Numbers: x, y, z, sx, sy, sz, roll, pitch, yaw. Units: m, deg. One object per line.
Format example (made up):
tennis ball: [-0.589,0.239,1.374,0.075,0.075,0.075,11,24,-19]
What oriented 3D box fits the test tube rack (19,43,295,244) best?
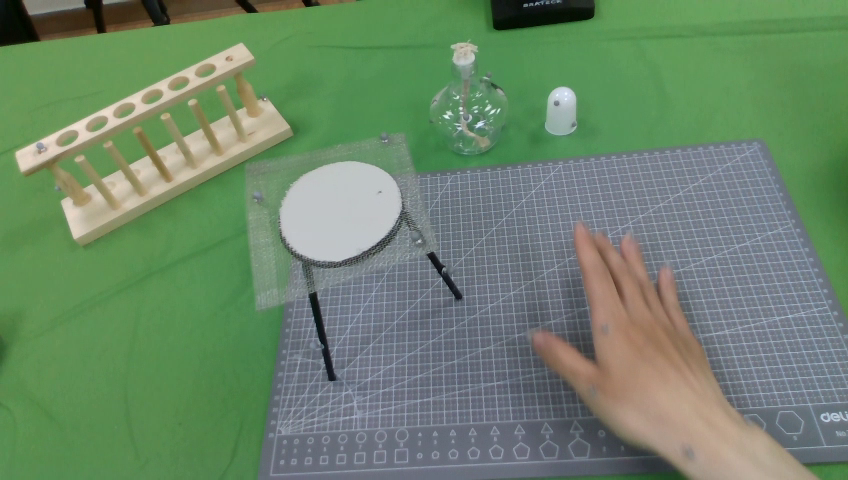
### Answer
test tube rack: [-0.265,-0.101,0.623,0.242,0.086,0.066,-31,56,-13]

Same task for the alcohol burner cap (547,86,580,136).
alcohol burner cap: [0.140,-0.132,0.606,0.034,0.048,0.033,-5,54,8]

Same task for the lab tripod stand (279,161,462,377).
lab tripod stand: [-0.048,0.019,0.467,0.148,0.133,0.147,-4,56,6]

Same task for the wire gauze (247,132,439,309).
wire gauze: [-0.060,-0.022,0.414,0.121,0.011,0.123,-15,55,-1]

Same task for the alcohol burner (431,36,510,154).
alcohol burner: [0.044,-0.142,0.585,0.078,0.120,0.077,-5,52,6]
